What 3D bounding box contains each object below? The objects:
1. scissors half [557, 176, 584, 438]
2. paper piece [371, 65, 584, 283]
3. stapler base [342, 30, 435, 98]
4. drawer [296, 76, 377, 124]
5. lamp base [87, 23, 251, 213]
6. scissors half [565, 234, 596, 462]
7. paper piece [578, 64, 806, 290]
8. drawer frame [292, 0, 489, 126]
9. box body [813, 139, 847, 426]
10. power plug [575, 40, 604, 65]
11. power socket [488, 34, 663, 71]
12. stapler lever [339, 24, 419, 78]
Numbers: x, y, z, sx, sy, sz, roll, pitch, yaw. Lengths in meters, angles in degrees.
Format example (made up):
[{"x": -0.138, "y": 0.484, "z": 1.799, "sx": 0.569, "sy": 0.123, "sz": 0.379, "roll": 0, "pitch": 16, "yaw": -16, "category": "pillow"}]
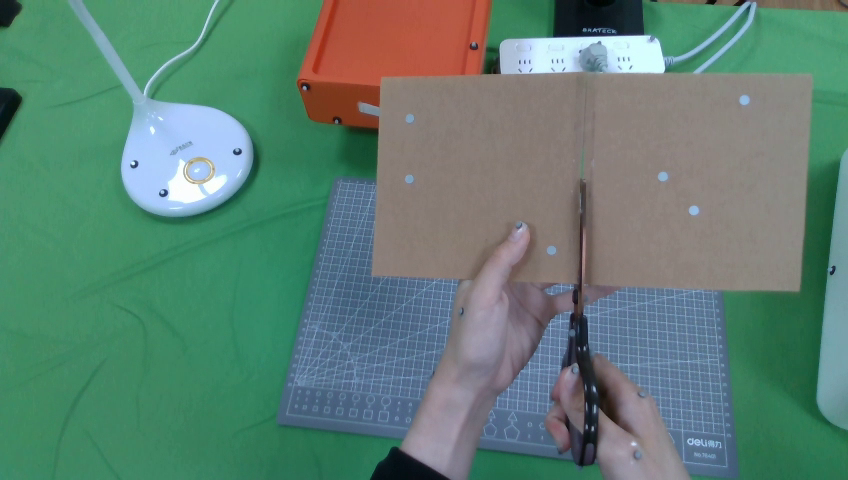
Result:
[{"x": 0.098, "y": 0.046, "z": 0.397, "sx": 0.013, "sy": 0.040, "sz": 0.176, "roll": 2, "pitch": 103, "yaw": 4, "category": "scissors half"}, {"x": 0.032, "y": -0.043, "z": 0.394, "sx": 0.135, "sy": 0.009, "sz": 0.138, "roll": 2, "pitch": 91, "yaw": 13, "category": "paper piece"}, {"x": -0.047, "y": -0.219, "z": 0.739, "sx": 0.129, "sy": 0.024, "sz": 0.041, "roll": 34, "pitch": 85, "yaw": 21, "category": "stapler base"}, {"x": -0.030, "y": -0.238, "z": 0.728, "sx": 0.194, "sy": 0.074, "sz": 0.210, "roll": 6, "pitch": 63, "yaw": 6, "category": "drawer"}, {"x": -0.309, "y": -0.146, "z": 0.687, "sx": 0.178, "sy": 0.182, "sz": 0.160, "roll": 36, "pitch": 69, "yaw": 22, "category": "lamp base"}, {"x": 0.096, "y": 0.045, "z": 0.374, "sx": 0.013, "sy": 0.040, "sz": 0.174, "roll": 3, "pitch": 75, "yaw": 0, "category": "scissors half"}, {"x": 0.163, "y": -0.039, "z": 0.375, "sx": 0.135, "sy": 0.004, "sz": 0.136, "roll": 3, "pitch": 94, "yaw": 6, "category": "paper piece"}, {"x": -0.031, "y": -0.240, "z": 0.729, "sx": 0.201, "sy": 0.083, "sz": 0.212, "roll": 6, "pitch": 62, "yaw": 6, "category": "drawer frame"}, {"x": 0.541, "y": 0.028, "z": 0.571, "sx": 0.253, "sy": 0.161, "sz": 0.362, "roll": 18, "pitch": 65, "yaw": 11, "category": "box body"}, {"x": 0.206, "y": -0.218, "z": 0.759, "sx": 0.035, "sy": 0.053, "sz": 0.072, "roll": 9, "pitch": 64, "yaw": 7, "category": "power plug"}, {"x": 0.198, "y": -0.233, "z": 0.793, "sx": 0.227, "sy": 0.033, "sz": 0.071, "roll": 0, "pitch": 64, "yaw": 2, "category": "power socket"}, {"x": -0.056, "y": -0.226, "z": 0.715, "sx": 0.117, "sy": 0.040, "sz": 0.027, "roll": 34, "pitch": 85, "yaw": 22, "category": "stapler lever"}]
